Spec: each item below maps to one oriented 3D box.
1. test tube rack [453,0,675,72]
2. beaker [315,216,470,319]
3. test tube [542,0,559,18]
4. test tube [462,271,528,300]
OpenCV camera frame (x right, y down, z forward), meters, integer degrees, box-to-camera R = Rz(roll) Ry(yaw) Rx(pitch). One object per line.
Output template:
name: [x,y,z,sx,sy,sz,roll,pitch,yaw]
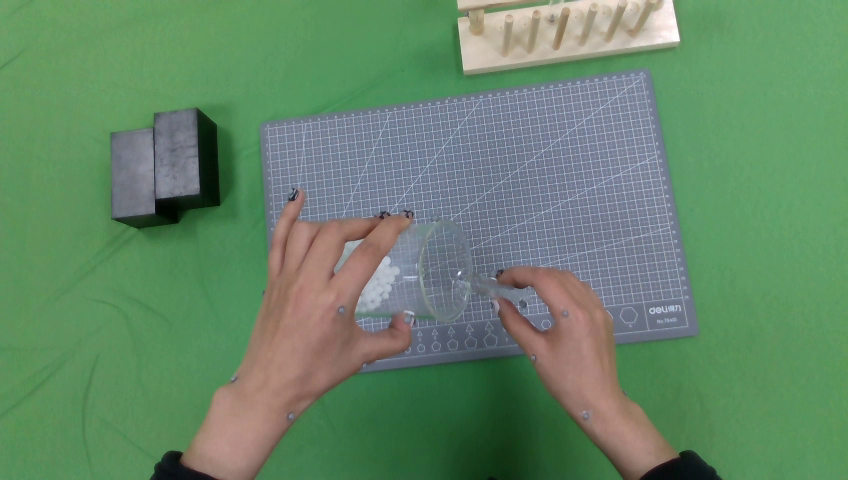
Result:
test tube rack: [0.155,-0.248,0.659,0.242,0.085,0.066,-7,79,4]
beaker: [-0.024,0.023,0.461,0.100,0.085,0.073,-2,74,32]
test tube: [0.138,-0.273,0.615,0.017,0.151,0.017,-1,76,3]
test tube: [0.067,0.042,0.536,0.017,0.151,0.017,-4,80,24]
